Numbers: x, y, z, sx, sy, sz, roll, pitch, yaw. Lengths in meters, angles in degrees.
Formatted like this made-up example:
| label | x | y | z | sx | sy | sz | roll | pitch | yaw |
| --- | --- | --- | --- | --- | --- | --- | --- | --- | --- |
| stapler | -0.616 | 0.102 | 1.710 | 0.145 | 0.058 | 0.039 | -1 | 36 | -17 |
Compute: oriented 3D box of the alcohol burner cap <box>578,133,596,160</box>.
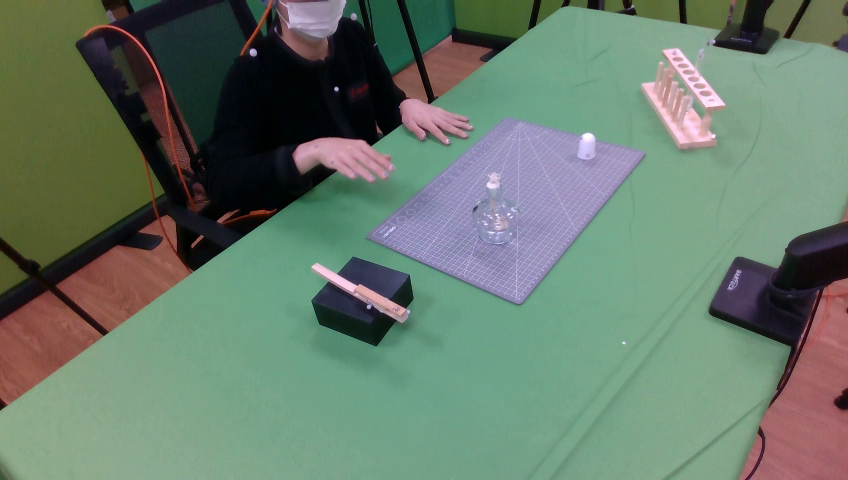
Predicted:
| label | x | y | z | sx | sy | sz | roll | pitch | yaw |
| --- | --- | --- | --- | --- | --- | --- | --- | --- | --- |
| alcohol burner cap | 0.301 | -0.174 | 1.111 | 0.034 | 0.048 | 0.033 | -5 | 40 | 4 |

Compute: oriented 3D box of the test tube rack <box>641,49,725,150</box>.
| label | x | y | z | sx | sy | sz | roll | pitch | yaw |
| --- | --- | --- | --- | --- | --- | --- | --- | --- | --- |
| test tube rack | 0.495 | -0.279 | 1.175 | 0.067 | 0.085 | 0.241 | -5 | 41 | 3 |

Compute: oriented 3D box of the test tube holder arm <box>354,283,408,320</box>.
| label | x | y | z | sx | sy | sz | roll | pitch | yaw |
| --- | --- | --- | --- | --- | --- | --- | --- | --- | --- |
| test tube holder arm | -0.059 | 0.081 | 0.805 | 0.087 | 0.010 | 0.015 | 26 | 52 | 32 |

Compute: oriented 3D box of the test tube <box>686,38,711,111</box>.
| label | x | y | z | sx | sy | sz | roll | pitch | yaw |
| --- | --- | --- | --- | --- | --- | --- | --- | --- | --- |
| test tube | 0.508 | -0.305 | 1.128 | 0.017 | 0.151 | 0.017 | -2 | 46 | 3 |

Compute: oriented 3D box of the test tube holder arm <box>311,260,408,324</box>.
| label | x | y | z | sx | sy | sz | roll | pitch | yaw |
| --- | --- | --- | --- | --- | --- | --- | --- | --- | --- |
| test tube holder arm | -0.092 | 0.069 | 0.832 | 0.177 | 0.013 | 0.015 | 26 | 52 | 32 |

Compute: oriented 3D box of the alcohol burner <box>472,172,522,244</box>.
| label | x | y | z | sx | sy | sz | roll | pitch | yaw |
| --- | --- | --- | --- | --- | --- | --- | --- | --- | --- |
| alcohol burner | 0.112 | -0.053 | 0.942 | 0.078 | 0.119 | 0.077 | -6 | 40 | 6 |
